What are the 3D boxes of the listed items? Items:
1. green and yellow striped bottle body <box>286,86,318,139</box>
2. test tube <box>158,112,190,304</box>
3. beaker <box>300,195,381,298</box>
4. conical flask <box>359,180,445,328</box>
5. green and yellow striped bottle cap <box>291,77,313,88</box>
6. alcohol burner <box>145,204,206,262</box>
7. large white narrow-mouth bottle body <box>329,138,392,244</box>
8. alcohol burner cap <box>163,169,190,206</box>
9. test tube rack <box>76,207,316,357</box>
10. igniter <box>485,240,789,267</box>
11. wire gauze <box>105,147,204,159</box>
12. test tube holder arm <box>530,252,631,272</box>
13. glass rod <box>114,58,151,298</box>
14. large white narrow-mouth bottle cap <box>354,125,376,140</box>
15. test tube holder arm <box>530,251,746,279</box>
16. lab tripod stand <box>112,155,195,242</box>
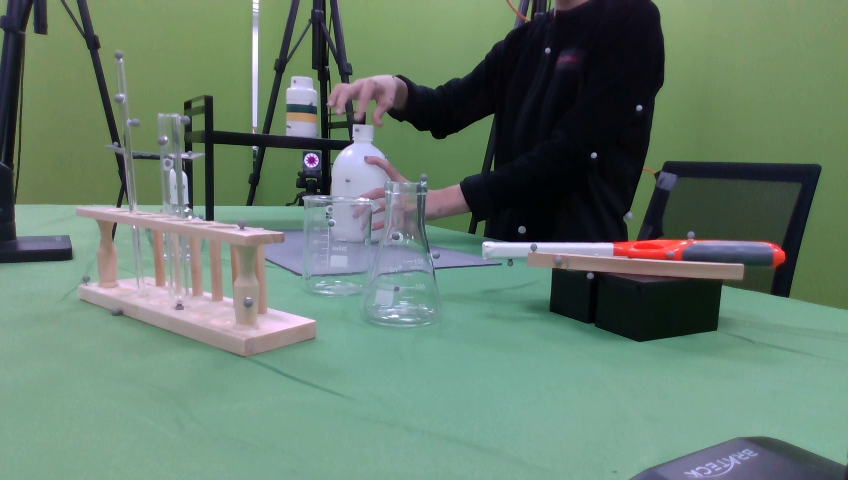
[{"bbox_3d":[-0.251,-0.270,1.245,0.063,0.119,0.063,2,7,0],"label":"green and yellow striped bottle body"},{"bbox_3d":[-0.194,-0.022,0.469,0.017,0.150,0.017,2,12,0],"label":"test tube"},{"bbox_3d":[-0.087,0.006,0.626,0.084,0.100,0.074,1,8,-17],"label":"beaker"},{"bbox_3d":[-0.017,0.010,0.522,0.075,0.122,0.075,2,7,0],"label":"conical flask"},{"bbox_3d":[-0.250,-0.321,1.238,0.045,0.020,0.045,3,6,0],"label":"green and yellow striped bottle cap"},{"bbox_3d":[-0.321,-0.032,0.788,0.078,0.119,0.078,0,7,0],"label":"alcohol burner"},{"bbox_3d":[-0.106,-0.095,1.027,0.102,0.194,0.102,4,7,0],"label":"large white narrow-mouth bottle body"},{"bbox_3d":[-0.320,-0.067,0.782,0.034,0.048,0.034,1,7,0],"label":"alcohol burner cap"},{"bbox_3d":[-0.196,0.023,0.499,0.241,0.085,0.067,8,9,36],"label":"test tube rack"},{"bbox_3d":[0.197,0.012,0.585,0.276,0.025,0.057,1,5,12],"label":"igniter"},{"bbox_3d":[-0.407,-0.131,0.928,0.125,0.011,0.121,2,6,-11],"label":"wire gauze"},{"bbox_3d":[0.139,0.019,0.538,0.087,0.015,0.010,3,6,13],"label":"test tube holder arm"},{"bbox_3d":[-0.236,-0.044,0.492,0.008,0.199,0.008,0,15,0],"label":"glass rod"},{"bbox_3d":[-0.098,-0.181,1.015,0.038,0.024,0.037,4,7,0],"label":"large white narrow-mouth bottle cap"},{"bbox_3d":[0.182,0.022,0.524,0.178,0.015,0.013,3,6,11],"label":"test tube holder arm"},{"bbox_3d":[-0.405,-0.064,0.931,0.148,0.131,0.148,1,7,0],"label":"lab tripod stand"}]
